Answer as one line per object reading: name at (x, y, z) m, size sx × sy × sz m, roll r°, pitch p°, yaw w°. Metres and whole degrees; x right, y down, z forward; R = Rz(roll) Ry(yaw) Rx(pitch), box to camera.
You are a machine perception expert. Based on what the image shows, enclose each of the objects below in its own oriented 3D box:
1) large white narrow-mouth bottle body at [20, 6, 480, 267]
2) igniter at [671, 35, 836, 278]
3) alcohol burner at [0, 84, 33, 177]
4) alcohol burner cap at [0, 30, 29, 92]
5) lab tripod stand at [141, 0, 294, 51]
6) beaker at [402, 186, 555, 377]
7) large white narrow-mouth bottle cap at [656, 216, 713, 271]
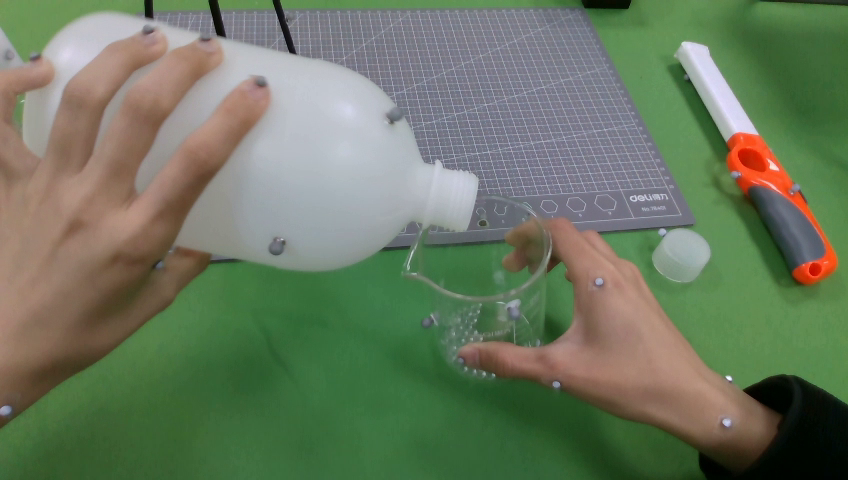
large white narrow-mouth bottle body at (-0.070, -0.040, 0.292) m, size 0.195 × 0.102 × 0.101 m, roll 13°, pitch 53°, yaw -3°
igniter at (0.275, -0.084, 0.520) m, size 0.057 × 0.025 × 0.273 m, roll 4°, pitch 53°, yaw -17°
alcohol burner at (-0.285, -0.101, 0.418) m, size 0.078 × 0.120 × 0.077 m, roll 4°, pitch 51°, yaw -5°
alcohol burner cap at (-0.282, -0.122, 0.389) m, size 0.034 × 0.048 × 0.033 m, roll 2°, pitch 60°, yaw -4°
lab tripod stand at (-0.156, -0.162, 0.461) m, size 0.148 × 0.132 × 0.147 m, roll 4°, pitch 54°, yaw -5°
beaker at (0.034, 0.031, 0.360) m, size 0.084 × 0.101 × 0.073 m, roll -16°, pitch 50°, yaw -4°
large white narrow-mouth bottle cap at (0.194, 0.003, 0.452) m, size 0.038 × 0.024 × 0.037 m, roll 3°, pitch 53°, yaw -3°
